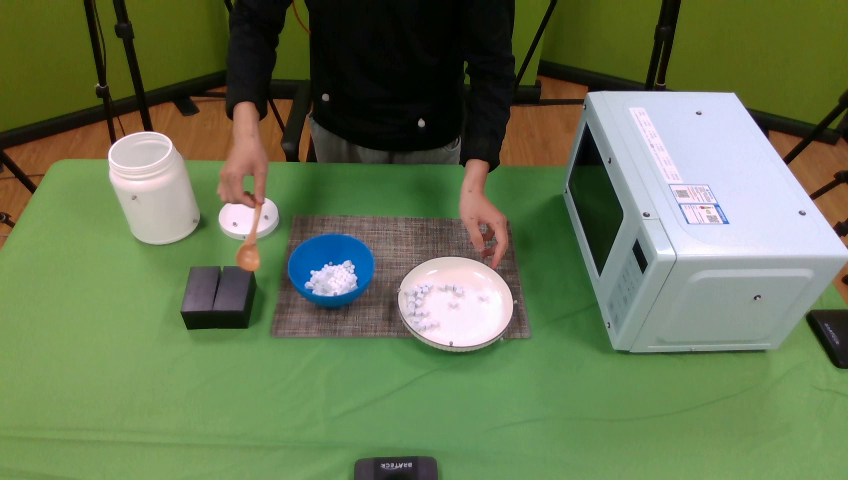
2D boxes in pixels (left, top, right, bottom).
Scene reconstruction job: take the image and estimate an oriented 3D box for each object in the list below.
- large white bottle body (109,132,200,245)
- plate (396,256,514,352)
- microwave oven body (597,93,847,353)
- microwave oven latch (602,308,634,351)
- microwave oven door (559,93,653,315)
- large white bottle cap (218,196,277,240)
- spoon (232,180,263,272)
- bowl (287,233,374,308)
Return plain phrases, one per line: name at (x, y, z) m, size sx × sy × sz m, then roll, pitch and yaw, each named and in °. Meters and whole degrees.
large white bottle body at (-0.506, -0.097, 1.141) m, size 0.131 × 0.185 × 0.130 m, roll 2°, pitch 46°, yaw -2°
plate at (0.053, 0.116, 1.077) m, size 0.209 × 0.038 × 0.208 m, roll 2°, pitch 46°, yaw -2°
microwave oven body at (0.475, -0.041, 1.109) m, size 0.326 × 0.261 × 0.438 m, roll -1°, pitch 45°, yaw -4°
microwave oven latch at (0.332, 0.153, 1.044) m, size 0.030 × 0.029 × 0.078 m, roll -1°, pitch 45°, yaw -4°
microwave oven door at (0.327, -0.074, 1.123) m, size 0.039 × 0.245 × 0.353 m, roll -1°, pitch 46°, yaw -5°
large white bottle cap at (-0.354, -0.045, 1.220) m, size 0.115 × 0.018 × 0.114 m, roll 1°, pitch 45°, yaw -1°
spoon at (-0.299, -0.027, 1.056) m, size 0.042 × 0.021 × 0.192 m, roll 19°, pitch 57°, yaw -25°
bowl at (-0.164, 0.068, 1.078) m, size 0.151 × 0.077 × 0.150 m, roll 2°, pitch 45°, yaw -2°
